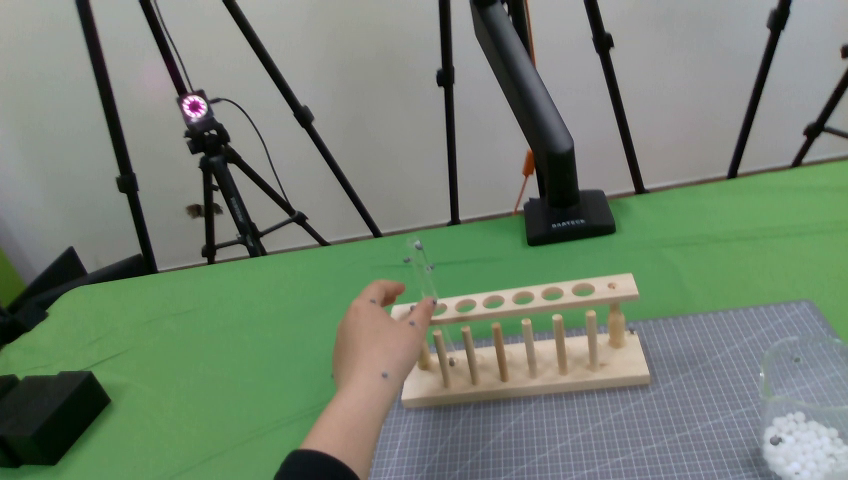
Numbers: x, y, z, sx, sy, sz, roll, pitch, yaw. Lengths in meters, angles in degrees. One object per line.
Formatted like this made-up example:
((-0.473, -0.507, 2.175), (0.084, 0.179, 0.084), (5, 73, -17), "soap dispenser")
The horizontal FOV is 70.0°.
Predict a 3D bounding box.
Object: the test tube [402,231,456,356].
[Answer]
((0.007, 0.057, 0.610), (0.017, 0.151, 0.017), (-14, 27, 8), "test tube")

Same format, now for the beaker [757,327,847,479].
((0.284, 0.127, 0.446), (0.084, 0.101, 0.073), (-19, 29, -4), "beaker")

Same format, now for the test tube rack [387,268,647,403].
((0.089, 0.097, 0.604), (0.242, 0.086, 0.066), (-9, 30, 11), "test tube rack")
